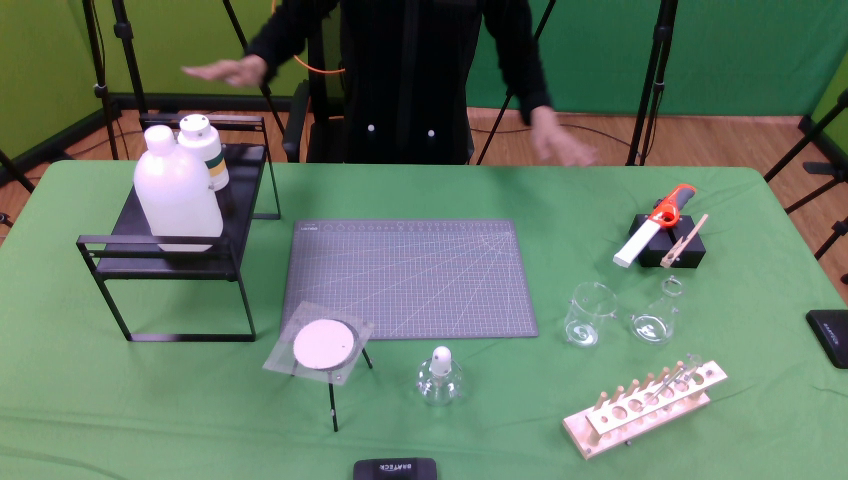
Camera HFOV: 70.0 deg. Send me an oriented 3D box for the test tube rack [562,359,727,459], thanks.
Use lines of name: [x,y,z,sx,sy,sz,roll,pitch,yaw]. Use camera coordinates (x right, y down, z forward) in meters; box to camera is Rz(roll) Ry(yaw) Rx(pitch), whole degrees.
test tube rack: [0.341,0.247,0.940,0.243,0.085,0.066,-16,49,-18]

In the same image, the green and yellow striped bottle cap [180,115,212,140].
green and yellow striped bottle cap: [-0.358,-0.177,0.951,0.045,0.020,0.045,1,45,-1]

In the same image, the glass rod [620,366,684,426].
glass rod: [0.322,0.227,0.866,0.008,0.200,0.008,5,51,-7]

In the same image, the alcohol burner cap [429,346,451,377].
alcohol burner cap: [0.026,0.180,0.912,0.034,0.048,0.033,1,47,-1]

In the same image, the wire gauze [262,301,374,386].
wire gauze: [-0.150,0.148,0.873,0.121,0.011,0.124,14,46,12]

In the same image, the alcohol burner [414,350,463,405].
alcohol burner: [0.023,0.205,0.939,0.078,0.120,0.077,1,48,-1]

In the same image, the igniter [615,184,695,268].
igniter: [0.459,-0.035,1.197,0.057,0.025,0.276,33,55,27]

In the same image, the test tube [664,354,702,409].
test tube: [0.384,0.215,0.907,0.017,0.151,0.017,-1,49,1]

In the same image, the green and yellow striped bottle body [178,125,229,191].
green and yellow striped bottle body: [-0.361,-0.142,0.989,0.063,0.120,0.063,2,46,-2]

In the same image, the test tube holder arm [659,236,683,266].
test tube holder arm: [0.472,0.020,1.149,0.010,0.015,0.088,35,54,27]

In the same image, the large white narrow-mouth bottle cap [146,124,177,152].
large white narrow-mouth bottle cap: [-0.354,-0.138,0.815,0.038,0.024,0.037,2,44,-1]

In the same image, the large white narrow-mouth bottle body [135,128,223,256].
large white narrow-mouth bottle body: [-0.357,-0.075,0.874,0.102,0.195,0.101,2,44,-1]

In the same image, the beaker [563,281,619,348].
beaker: [0.283,0.129,1.041,0.074,0.101,0.083,11,46,6]

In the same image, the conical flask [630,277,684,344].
conical flask: [0.408,0.117,1.045,0.075,0.122,0.075,2,46,-2]

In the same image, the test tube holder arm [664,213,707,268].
test tube holder arm: [0.507,-0.001,1.171,0.013,0.015,0.178,34,54,26]

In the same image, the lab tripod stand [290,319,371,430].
lab tripod stand: [-0.146,0.193,0.923,0.148,0.132,0.147,1,47,-1]
